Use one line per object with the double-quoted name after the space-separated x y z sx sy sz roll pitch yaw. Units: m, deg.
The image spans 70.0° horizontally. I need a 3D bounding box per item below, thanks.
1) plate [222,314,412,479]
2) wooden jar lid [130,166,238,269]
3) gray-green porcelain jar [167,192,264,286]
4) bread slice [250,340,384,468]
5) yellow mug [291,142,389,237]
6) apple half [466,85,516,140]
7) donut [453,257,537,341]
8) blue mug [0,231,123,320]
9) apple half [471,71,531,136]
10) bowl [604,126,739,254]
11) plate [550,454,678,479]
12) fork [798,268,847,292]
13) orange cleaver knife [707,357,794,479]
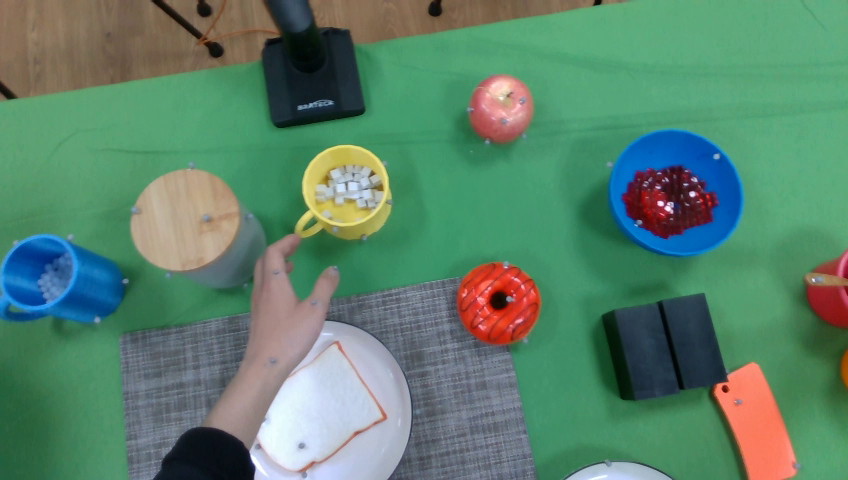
-0.117 0.188 0.679 0.208 0.039 0.206 0 77 0 "plate"
-0.243 -0.022 0.620 0.108 0.021 0.108 0 75 0 "wooden jar lid"
-0.243 -0.007 0.680 0.106 0.127 0.105 0 76 0 "gray-green porcelain jar"
-0.126 0.191 0.679 0.131 0.019 0.104 -35 79 -9 "bread slice"
-0.106 -0.049 0.723 0.131 0.064 0.099 -41 81 -8 "yellow mug"
0.074 -0.146 0.742 0.033 0.081 0.081 -42 80 -14 "apple half"
0.082 0.068 0.705 0.099 0.048 0.098 0 77 -1 "donut"
-0.416 0.052 0.675 0.116 0.106 0.082 -35 79 -8 "blue mug"
0.101 -0.172 0.750 0.053 0.075 0.080 -41 76 -15 "apple half"
0.281 -0.050 0.721 0.151 0.077 0.150 0 77 0 "bowl"
0.206 0.337 0.651 0.209 0.038 0.208 0 77 0 "plate"
0.454 0.044 0.666 0.209 0.018 0.028 8 73 -41 "fork"
0.380 0.241 0.685 0.077 0.012 0.210 -7 76 -9 "orange cleaver knife"
